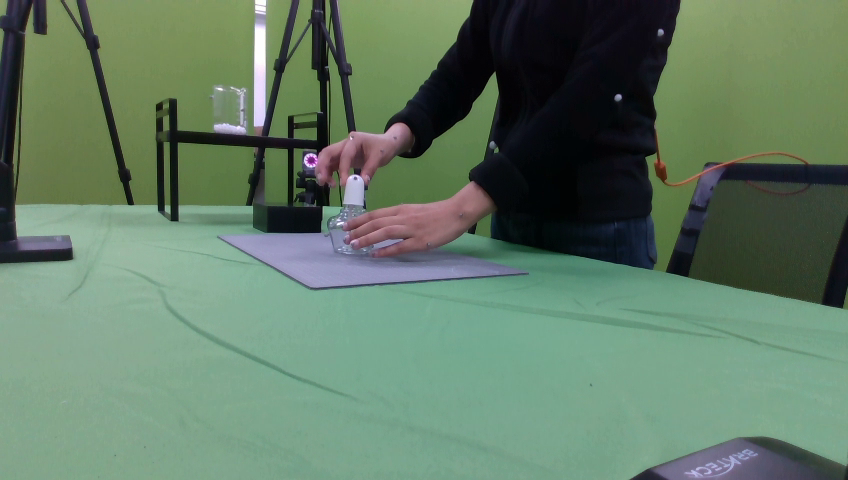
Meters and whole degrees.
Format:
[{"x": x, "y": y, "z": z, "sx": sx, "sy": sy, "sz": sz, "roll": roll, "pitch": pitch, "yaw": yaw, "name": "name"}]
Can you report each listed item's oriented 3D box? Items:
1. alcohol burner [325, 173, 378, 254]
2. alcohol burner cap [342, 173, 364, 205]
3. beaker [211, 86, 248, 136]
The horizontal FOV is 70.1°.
[{"x": -0.107, "y": -0.040, "z": 0.895, "sx": 0.078, "sy": 0.119, "sz": 0.078, "roll": 2, "pitch": 5, "yaw": 0, "name": "alcohol burner"}, {"x": -0.104, "y": -0.074, "z": 0.891, "sx": 0.034, "sy": 0.048, "sz": 0.034, "roll": 5, "pitch": 3, "yaw": 0, "name": "alcohol burner cap"}, {"x": -0.413, "y": -0.274, "z": 1.297, "sx": 0.074, "sy": 0.100, "sz": 0.083, "roll": -5, "pitch": 11, "yaw": -44, "name": "beaker"}]
